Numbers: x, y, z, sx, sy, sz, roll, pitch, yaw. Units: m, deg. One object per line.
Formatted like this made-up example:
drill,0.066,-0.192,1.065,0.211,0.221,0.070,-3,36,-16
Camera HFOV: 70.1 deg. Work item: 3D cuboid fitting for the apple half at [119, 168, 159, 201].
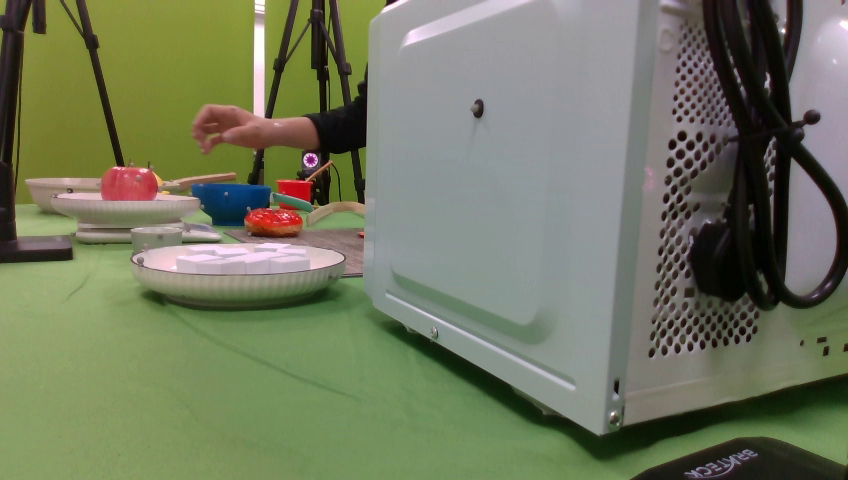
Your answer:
apple half,-0.434,-0.076,0.940,0.033,0.081,0.081,1,7,15

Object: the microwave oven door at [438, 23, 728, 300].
microwave oven door,0.181,-0.073,0.621,0.358,0.243,0.039,-2,8,-29

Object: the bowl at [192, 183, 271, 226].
bowl,-0.382,-0.071,1.202,0.151,0.077,0.151,3,7,0

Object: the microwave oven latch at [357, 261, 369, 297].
microwave oven latch,-0.019,0.033,0.530,0.079,0.029,0.030,-1,7,-26

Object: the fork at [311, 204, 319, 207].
fork,-0.356,-0.105,1.526,0.208,0.018,0.028,16,-5,-41

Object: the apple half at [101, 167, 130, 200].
apple half,-0.471,-0.077,0.948,0.053,0.074,0.081,1,10,15

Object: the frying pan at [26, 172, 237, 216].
frying pan,-0.624,-0.118,1.387,0.305,0.102,0.490,8,17,32

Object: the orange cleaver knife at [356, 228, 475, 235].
orange cleaver knife,-0.017,-0.015,1.080,0.211,0.012,0.077,0,2,-3

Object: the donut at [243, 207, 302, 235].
donut,-0.261,-0.032,1.043,0.099,0.048,0.099,4,8,0

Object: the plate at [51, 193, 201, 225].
plate,-0.460,-0.050,0.945,0.209,0.038,0.209,2,7,0

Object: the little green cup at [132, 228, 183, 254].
little green cup,-0.342,0.006,0.779,0.061,0.038,0.061,2,8,0

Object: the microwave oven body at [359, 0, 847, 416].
microwave oven body,0.211,-0.047,0.474,0.444,0.260,0.324,-1,7,-28

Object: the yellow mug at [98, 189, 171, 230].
yellow mug,-0.519,-0.055,1.080,0.099,0.064,0.131,7,10,26

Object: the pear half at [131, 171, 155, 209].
pear half,-0.638,-0.113,1.361,0.031,0.088,0.070,5,11,4

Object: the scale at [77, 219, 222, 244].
scale,-0.434,-0.018,0.963,0.202,0.031,0.148,-1,9,-26

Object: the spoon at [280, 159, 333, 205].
spoon,-0.317,-0.159,1.640,0.194,0.022,0.041,-49,32,-20

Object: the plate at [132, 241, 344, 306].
plate,-0.187,0.033,0.625,0.208,0.039,0.207,2,7,0

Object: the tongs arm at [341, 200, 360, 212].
tongs arm,-0.149,-0.070,1.429,0.051,0.026,0.383,-4,8,-15

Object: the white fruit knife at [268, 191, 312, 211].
white fruit knife,-0.364,-0.105,1.464,0.208,0.027,0.016,15,0,-34

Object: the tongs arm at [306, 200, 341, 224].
tongs arm,-0.234,-0.069,1.414,0.028,0.028,0.387,-5,7,1

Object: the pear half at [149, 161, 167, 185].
pear half,-0.602,-0.120,1.354,0.056,0.110,0.076,4,11,6
